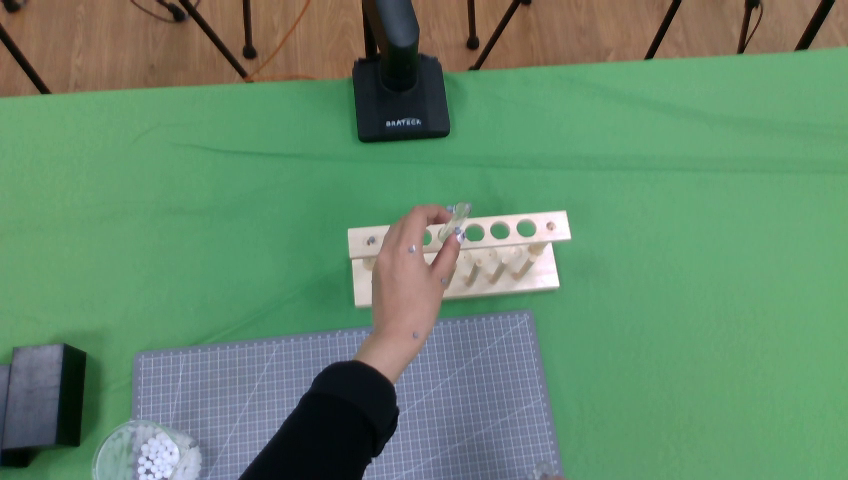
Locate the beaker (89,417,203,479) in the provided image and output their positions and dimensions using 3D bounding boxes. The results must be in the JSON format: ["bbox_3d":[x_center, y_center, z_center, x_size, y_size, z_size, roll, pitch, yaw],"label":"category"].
[{"bbox_3d":[-0.260,0.213,0.587,0.084,0.101,0.073,-12,70,-9],"label":"beaker"}]

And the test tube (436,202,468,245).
[{"bbox_3d":[0.026,-0.012,0.611,0.017,0.150,0.017,1,78,-5],"label":"test tube"}]

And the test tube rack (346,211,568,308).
[{"bbox_3d":[0.037,0.023,0.690,0.243,0.085,0.066,-5,69,-6],"label":"test tube rack"}]

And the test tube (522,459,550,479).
[{"bbox_3d":[0.092,0.226,0.547,0.017,0.152,0.017,1,54,-1],"label":"test tube"}]
